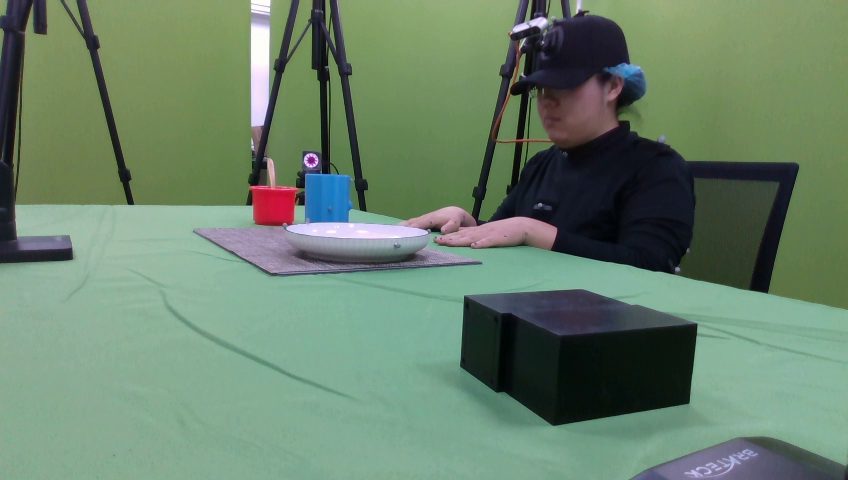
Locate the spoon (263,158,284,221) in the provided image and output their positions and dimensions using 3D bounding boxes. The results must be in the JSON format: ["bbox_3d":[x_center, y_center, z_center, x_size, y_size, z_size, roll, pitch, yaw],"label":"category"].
[{"bbox_3d":[-0.319,-0.110,1.274,0.042,0.021,0.193,3,51,-20],"label":"spoon"}]

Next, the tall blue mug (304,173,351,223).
[{"bbox_3d":[-0.178,-0.063,1.062,0.078,0.108,0.106,-4,10,-38],"label":"tall blue mug"}]

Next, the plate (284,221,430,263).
[{"bbox_3d":[-0.095,0.002,0.870,0.208,0.039,0.207,2,7,0],"label":"plate"}]
